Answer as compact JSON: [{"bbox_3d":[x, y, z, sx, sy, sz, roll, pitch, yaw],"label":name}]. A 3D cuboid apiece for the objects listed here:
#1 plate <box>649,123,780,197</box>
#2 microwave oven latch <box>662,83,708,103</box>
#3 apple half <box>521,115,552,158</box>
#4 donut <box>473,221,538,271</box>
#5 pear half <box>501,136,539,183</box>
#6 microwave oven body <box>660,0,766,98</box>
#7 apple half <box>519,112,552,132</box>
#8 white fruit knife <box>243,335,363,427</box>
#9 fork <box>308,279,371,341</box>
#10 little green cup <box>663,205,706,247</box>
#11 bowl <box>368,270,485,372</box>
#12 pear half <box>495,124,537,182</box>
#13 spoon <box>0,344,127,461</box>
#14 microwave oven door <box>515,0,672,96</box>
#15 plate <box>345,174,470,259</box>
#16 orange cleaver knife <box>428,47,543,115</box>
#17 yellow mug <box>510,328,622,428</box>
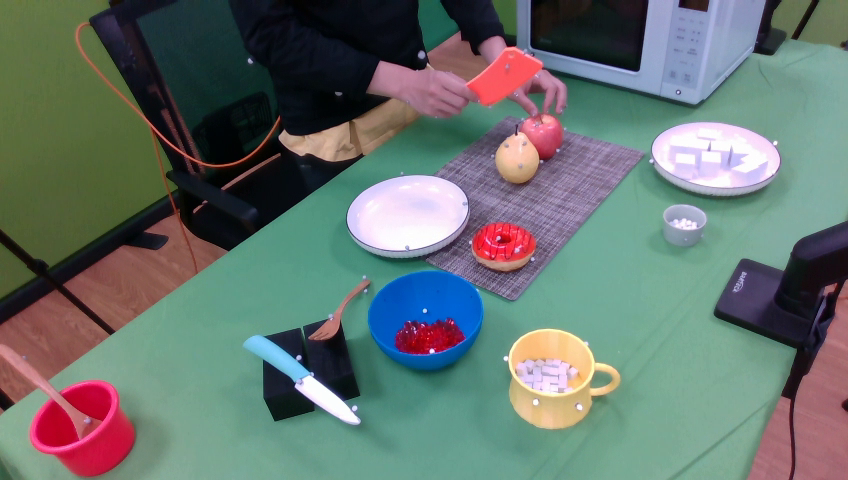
[{"bbox_3d":[0.497,-0.135,1.046,0.207,0.039,0.206,-4,40,4],"label":"plate"},{"bbox_3d":[0.517,-0.296,1.204,0.078,0.029,0.030,27,52,35],"label":"microwave oven latch"},{"bbox_3d":[0.209,-0.190,1.122,0.053,0.075,0.080,-3,35,3],"label":"apple half"},{"bbox_3d":[0.123,0.008,0.923,0.099,0.048,0.098,-3,38,3],"label":"donut"},{"bbox_3d":[0.172,-0.134,1.048,0.071,0.088,0.031,-16,40,-16],"label":"pear half"},{"bbox_3d":[0.472,-0.513,1.317,0.438,0.261,0.327,26,51,34],"label":"microwave oven body"},{"bbox_3d":[0.203,-0.206,1.138,0.081,0.081,0.032,-27,45,-21],"label":"apple half"},{"bbox_3d":[-0.148,0.167,0.729,0.206,0.016,0.027,27,80,31],"label":"white fruit knife"},{"bbox_3d":[-0.109,0.093,0.832,0.028,0.018,0.207,-4,19,15],"label":"fork"},{"bbox_3d":[0.396,-0.021,0.926,0.061,0.039,0.061,-4,40,4],"label":"little green cup"},{"bbox_3d":[0.007,0.118,0.791,0.151,0.077,0.150,-5,40,4],"label":"bowl"},{"bbox_3d":[0.160,-0.162,1.067,0.076,0.110,0.055,-17,41,-15],"label":"pear half"},{"bbox_3d":[-0.433,0.191,0.721,0.194,0.021,0.042,47,53,-6],"label":"spoon"},{"bbox_3d":[0.343,-0.455,1.259,0.353,0.245,0.039,26,51,33],"label":"microwave oven door"},{"bbox_3d":[-0.026,-0.037,1.004,0.209,0.038,0.208,-4,40,4],"label":"plate"},{"bbox_3d":[0.096,-0.248,0.994,0.210,0.078,0.012,-24,47,41],"label":"orange cleaver knife"},{"bbox_3d":[0.169,0.164,0.722,0.130,0.064,0.099,0,40,8],"label":"yellow mug"}]
